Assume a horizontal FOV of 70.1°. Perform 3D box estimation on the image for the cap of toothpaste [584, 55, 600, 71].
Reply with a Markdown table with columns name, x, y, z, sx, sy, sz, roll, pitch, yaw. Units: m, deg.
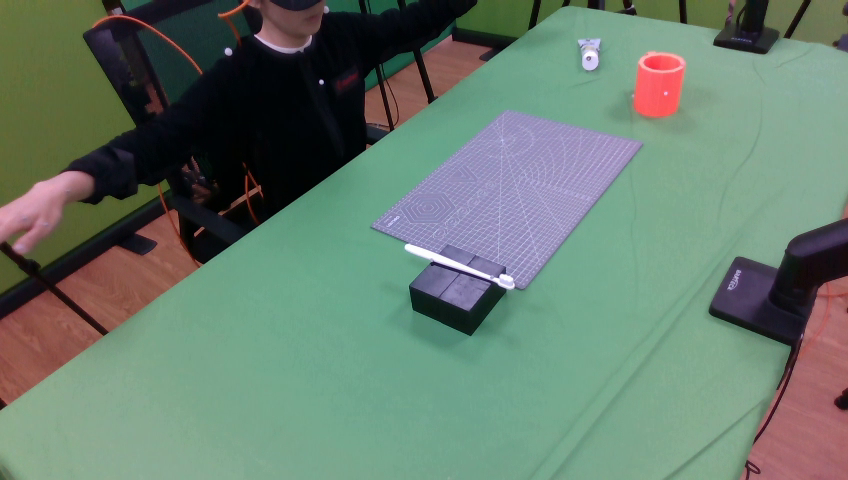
| name | x | y | z | sx | sy | sz | roll | pitch | yaw |
| --- | --- | --- | --- | --- | --- | --- | --- | --- | --- |
| cap of toothpaste | 0.381 | -0.403 | 1.372 | 0.037 | 0.037 | 0.011 | 1 | 38 | 10 |

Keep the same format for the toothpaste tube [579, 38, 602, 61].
| name | x | y | z | sx | sy | sz | roll | pitch | yaw |
| --- | --- | --- | --- | --- | --- | --- | --- | --- | --- |
| toothpaste tube | 0.398 | -0.449 | 1.433 | 0.055 | 0.034 | 0.164 | 6 | 38 | 8 |

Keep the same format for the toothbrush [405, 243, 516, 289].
| name | x | y | z | sx | sy | sz | roll | pitch | yaw |
| --- | --- | --- | --- | --- | --- | --- | --- | --- | --- |
| toothbrush | 0.048 | 0.034 | 0.859 | 0.180 | 0.017 | 0.014 | 19 | 51 | 28 |

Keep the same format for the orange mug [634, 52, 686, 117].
| name | x | y | z | sx | sy | sz | roll | pitch | yaw |
| --- | --- | --- | --- | --- | --- | --- | --- | --- | --- |
| orange mug | 0.469 | -0.322 | 1.219 | 0.083 | 0.101 | 0.125 | -5 | 45 | 3 |
